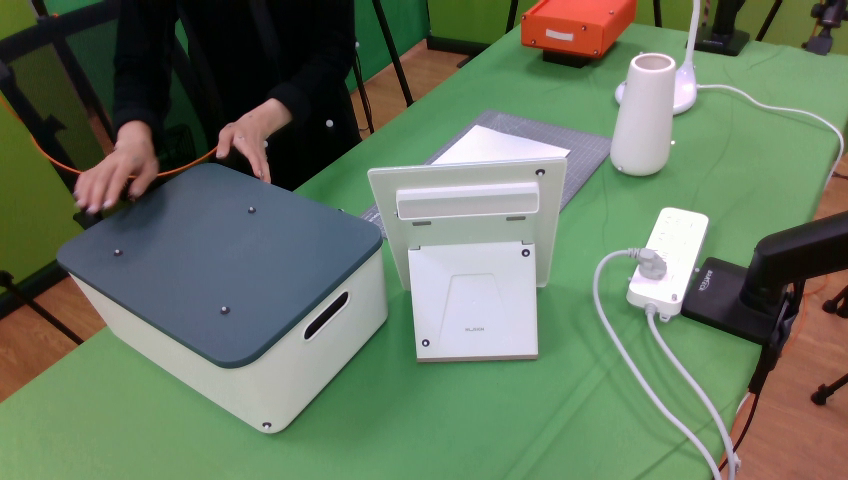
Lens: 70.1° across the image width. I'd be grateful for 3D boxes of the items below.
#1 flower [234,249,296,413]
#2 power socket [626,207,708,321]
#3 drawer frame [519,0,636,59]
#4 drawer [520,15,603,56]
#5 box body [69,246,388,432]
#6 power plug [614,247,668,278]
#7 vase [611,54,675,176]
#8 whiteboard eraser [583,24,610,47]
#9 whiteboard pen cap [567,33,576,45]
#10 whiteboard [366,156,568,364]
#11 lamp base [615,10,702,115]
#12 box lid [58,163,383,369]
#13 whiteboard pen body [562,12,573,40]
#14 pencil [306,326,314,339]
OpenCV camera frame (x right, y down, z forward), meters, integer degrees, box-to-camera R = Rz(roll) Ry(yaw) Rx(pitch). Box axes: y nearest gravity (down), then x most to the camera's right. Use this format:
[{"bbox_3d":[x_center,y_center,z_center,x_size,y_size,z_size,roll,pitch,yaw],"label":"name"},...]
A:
[{"bbox_3d":[-0.244,0.108,0.869,0.044,0.038,0.358,10,27,-32],"label":"flower"},{"bbox_3d":[0.359,0.025,0.886,0.072,0.033,0.227,16,46,26],"label":"power socket"},{"bbox_3d":[0.362,-0.518,1.423,0.200,0.083,0.214,19,48,29],"label":"drawer frame"},{"bbox_3d":[0.359,-0.517,1.416,0.193,0.073,0.212,20,47,29],"label":"drawer"},{"bbox_3d":[-0.256,0.065,0.826,0.361,0.161,0.255,20,48,29],"label":"box body"},{"bbox_3d":[0.306,0.031,0.851,0.072,0.053,0.035,24,49,33],"label":"power plug"},{"bbox_3d":[0.377,-0.209,1.031,0.098,0.201,0.097,-4,40,3],"label":"vase"},{"bbox_3d":[0.407,-0.479,1.423,0.055,0.042,0.113,-3,10,20],"label":"whiteboard eraser"},{"bbox_3d":[0.339,-0.463,1.390,0.018,0.018,0.033,-2,44,5],"label":"whiteboard pen cap"},{"bbox_3d":[0.059,0.050,0.738,0.217,0.307,0.143,-2,60,6],"label":"whiteboard"},{"bbox_3d":[0.484,-0.364,1.211,0.180,0.181,0.159,-15,41,-14],"label":"lamp base"},{"bbox_3d":[-0.262,0.010,0.777,0.369,0.015,0.264,21,47,29],"label":"box lid"},{"bbox_3d":[0.340,-0.506,1.430,0.017,0.017,0.140,-1,43,6],"label":"whiteboard pen body"},{"bbox_3d":[-0.187,0.106,0.880,0.012,0.012,0.192,-27,41,-22],"label":"pencil"}]
